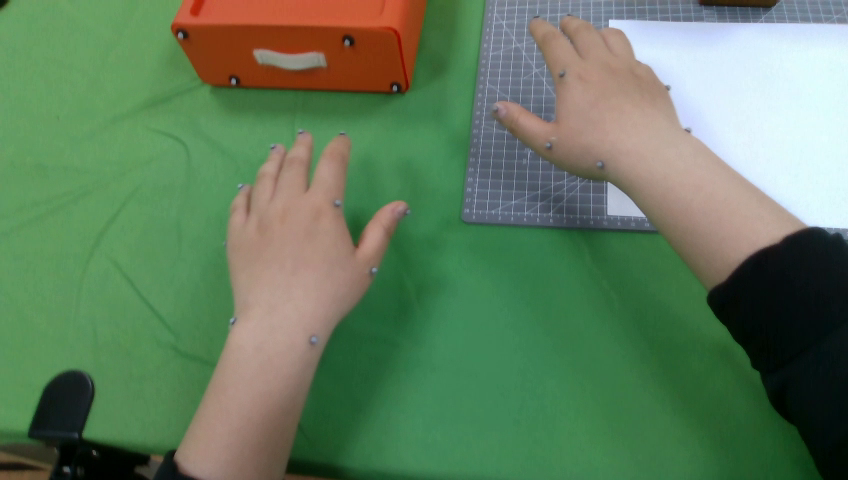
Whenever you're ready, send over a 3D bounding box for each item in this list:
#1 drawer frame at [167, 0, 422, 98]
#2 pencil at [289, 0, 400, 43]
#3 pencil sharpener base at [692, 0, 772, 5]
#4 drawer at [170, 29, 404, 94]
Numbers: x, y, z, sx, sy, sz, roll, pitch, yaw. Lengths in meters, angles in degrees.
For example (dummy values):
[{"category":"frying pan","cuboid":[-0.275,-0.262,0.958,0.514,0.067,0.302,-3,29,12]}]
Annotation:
[{"category":"drawer frame","cuboid":[-0.104,-0.241,0.573,0.201,0.083,0.212,3,61,9]},{"category":"pencil","cuboid":[-0.099,-0.227,0.600,0.192,0.012,0.012,30,69,27]},{"category":"pencil sharpener base","cuboid":[0.275,-0.263,0.520,0.076,0.108,0.061,4,62,11]},{"category":"drawer","cuboid":[-0.104,-0.238,0.573,0.194,0.074,0.210,3,61,10]}]
